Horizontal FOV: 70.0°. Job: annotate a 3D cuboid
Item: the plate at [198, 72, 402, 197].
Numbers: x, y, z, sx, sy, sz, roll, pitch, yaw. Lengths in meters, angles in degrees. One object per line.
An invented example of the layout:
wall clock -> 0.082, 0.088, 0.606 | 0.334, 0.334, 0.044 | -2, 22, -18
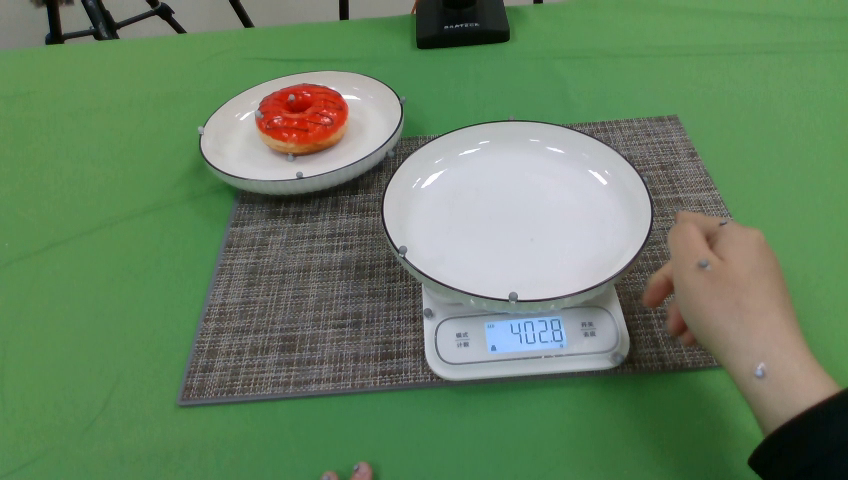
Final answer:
plate -> -0.126, -0.109, 0.633 | 0.209, 0.038, 0.207 | -4, 44, 4

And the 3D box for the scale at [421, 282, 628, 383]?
scale -> 0.071, 0.019, 0.491 | 0.148, 0.032, 0.199 | -5, 46, 2

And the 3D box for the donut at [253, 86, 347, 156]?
donut -> -0.129, -0.124, 0.633 | 0.099, 0.049, 0.098 | -2, 44, 3

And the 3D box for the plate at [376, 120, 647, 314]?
plate -> 0.067, -0.020, 0.483 | 0.207, 0.039, 0.205 | -2, 46, 3
